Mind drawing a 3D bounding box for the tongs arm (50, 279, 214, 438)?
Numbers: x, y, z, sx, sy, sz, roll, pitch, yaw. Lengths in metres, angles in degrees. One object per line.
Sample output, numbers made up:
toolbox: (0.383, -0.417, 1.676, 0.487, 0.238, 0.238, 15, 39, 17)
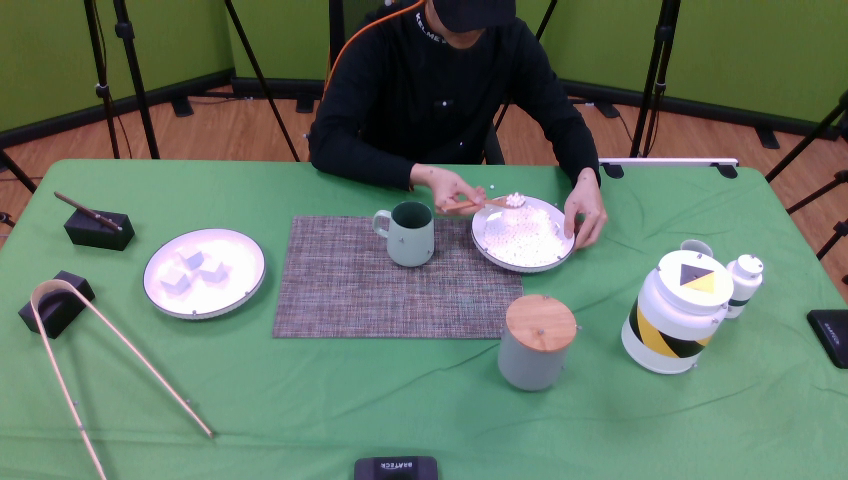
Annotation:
tongs arm: (-0.459, 0.178, 0.949, 0.386, 0.028, 0.028, 37, 60, 17)

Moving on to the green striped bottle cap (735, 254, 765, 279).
green striped bottle cap: (0.566, 0.046, 1.051, 0.044, 0.020, 0.044, 0, 45, 0)

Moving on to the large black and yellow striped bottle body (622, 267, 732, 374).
large black and yellow striped bottle body: (0.415, 0.119, 0.997, 0.131, 0.185, 0.130, 2, 46, -2)

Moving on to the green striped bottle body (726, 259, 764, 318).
green striped bottle body: (0.563, 0.081, 1.089, 0.063, 0.120, 0.063, 2, 46, -2)

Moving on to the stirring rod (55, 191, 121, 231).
stirring rod: (-0.632, -0.055, 1.138, 0.175, 0.014, 0.006, 24, 51, 19)

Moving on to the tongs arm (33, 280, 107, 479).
tongs arm: (-0.517, 0.214, 0.910, 0.051, 0.026, 0.383, -29, 63, -27)

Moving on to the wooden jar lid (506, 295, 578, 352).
wooden jar lid: (0.179, 0.130, 0.925, 0.108, 0.021, 0.107, 2, 43, -2)

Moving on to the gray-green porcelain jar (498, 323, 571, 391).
gray-green porcelain jar: (0.176, 0.172, 0.971, 0.106, 0.127, 0.105, 2, 46, -2)

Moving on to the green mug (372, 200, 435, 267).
green mug: (-0.040, -0.016, 1.146, 0.125, 0.105, 0.092, 17, 48, 13)

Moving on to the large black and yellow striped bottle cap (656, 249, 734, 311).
large black and yellow striped bottle cap: (0.419, 0.061, 0.938, 0.115, 0.019, 0.114, 2, 47, -2)

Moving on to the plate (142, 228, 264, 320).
plate: (-0.394, 0.064, 1.095, 0.208, 0.039, 0.206, 2, 46, -2)

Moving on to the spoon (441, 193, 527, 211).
spoon: (0.117, -0.072, 1.171, 0.194, 0.022, 0.041, -5, 47, -29)

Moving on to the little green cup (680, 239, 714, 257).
little green cup: (0.530, 0.033, 1.190, 0.061, 0.039, 0.061, 2, 47, -2)

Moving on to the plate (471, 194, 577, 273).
plate: (0.195, -0.011, 1.204, 0.209, 0.038, 0.208, 2, 46, -2)
